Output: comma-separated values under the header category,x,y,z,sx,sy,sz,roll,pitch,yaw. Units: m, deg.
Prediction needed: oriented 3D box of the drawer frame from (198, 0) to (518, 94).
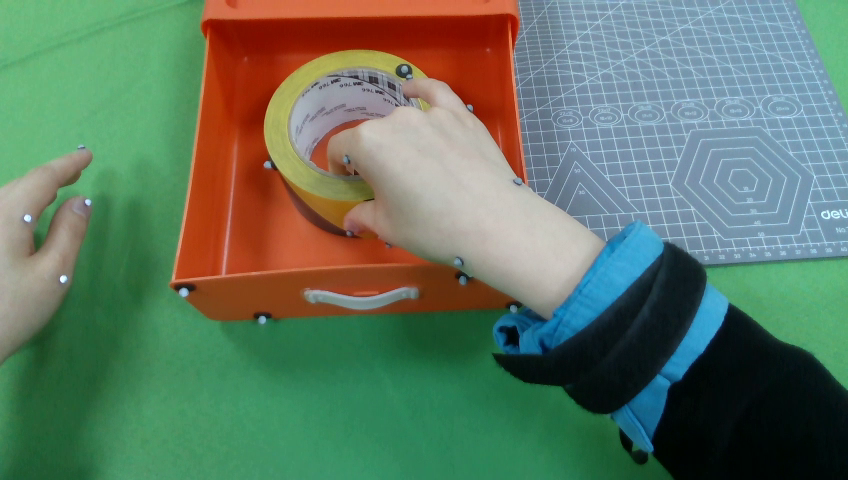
category,x,y,z,sx,sy,sz,roll,pitch,yaw
drawer frame,-0.043,-0.213,0.449,0.202,0.083,0.211,-2,63,0

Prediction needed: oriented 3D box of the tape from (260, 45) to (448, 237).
category,x,y,z,sx,sy,sz,roll,pitch,yaw
tape,-0.041,-0.063,0.389,0.117,0.053,0.116,0,67,1

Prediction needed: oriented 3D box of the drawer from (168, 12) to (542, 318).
category,x,y,z,sx,sy,sz,roll,pitch,yaw
drawer,-0.038,-0.060,0.381,0.194,0.074,0.210,-3,65,0
